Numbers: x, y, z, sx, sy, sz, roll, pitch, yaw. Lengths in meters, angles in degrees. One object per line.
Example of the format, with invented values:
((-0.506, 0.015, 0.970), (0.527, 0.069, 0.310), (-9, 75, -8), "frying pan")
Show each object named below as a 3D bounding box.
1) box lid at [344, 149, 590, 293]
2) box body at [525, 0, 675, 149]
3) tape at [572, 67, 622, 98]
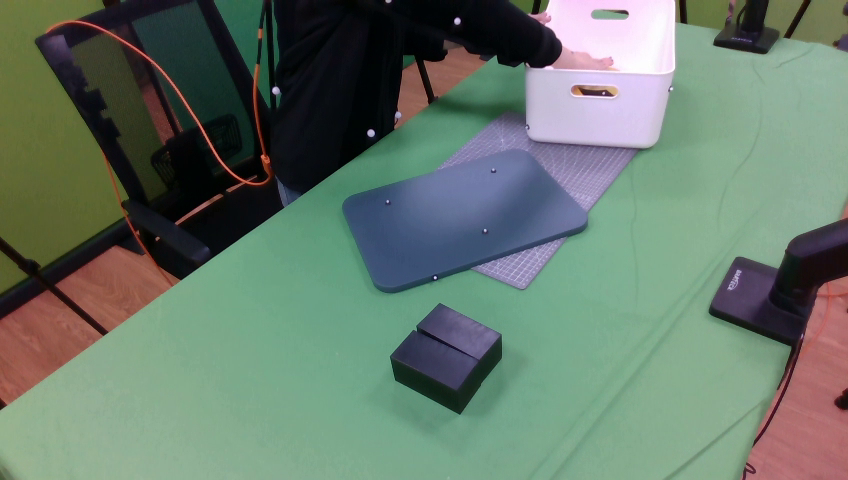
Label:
((0.062, -0.046, 1.027), (0.373, 0.015, 0.261), (-18, 41, -11), "box lid")
((0.356, -0.342, 1.212), (0.253, 0.161, 0.363), (7, 42, 17), "box body")
((0.359, -0.311, 1.251), (0.117, 0.053, 0.116), (-4, 41, 4), "tape")
